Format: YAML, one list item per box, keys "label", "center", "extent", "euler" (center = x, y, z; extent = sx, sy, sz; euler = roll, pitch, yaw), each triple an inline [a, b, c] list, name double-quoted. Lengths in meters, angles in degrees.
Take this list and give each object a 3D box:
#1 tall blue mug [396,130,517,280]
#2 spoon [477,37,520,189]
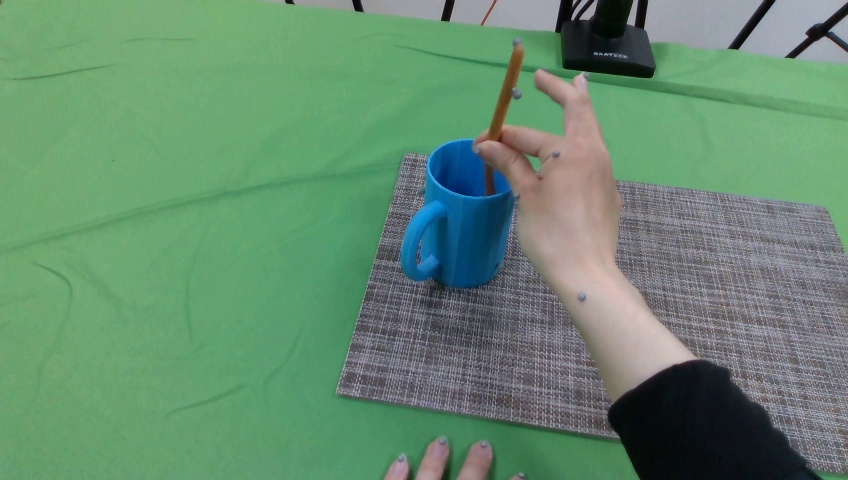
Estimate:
- label: "tall blue mug"
  center: [0.028, -0.018, 0.511]
  extent: [0.077, 0.109, 0.106]
  euler: [15, 48, 8]
- label: "spoon"
  center: [0.048, -0.066, 0.457]
  extent: [0.021, 0.195, 0.041]
  euler: [10, 53, 6]
